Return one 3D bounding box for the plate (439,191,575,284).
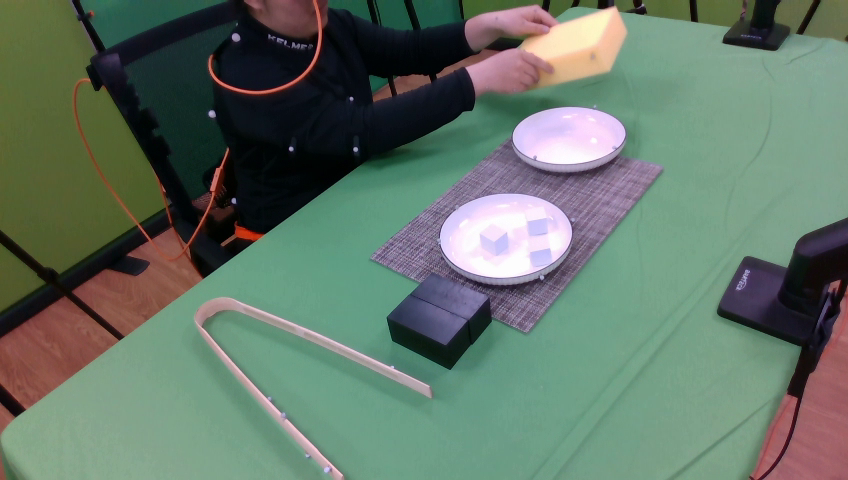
[{"bbox_3d":[0.129,-0.002,0.942,0.207,0.039,0.206,-5,40,5],"label":"plate"}]

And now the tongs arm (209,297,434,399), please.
[{"bbox_3d":[-0.153,0.143,0.837,0.385,0.028,0.028,16,49,28],"label":"tongs arm"}]

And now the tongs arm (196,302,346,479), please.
[{"bbox_3d":[-0.206,0.185,0.791,0.381,0.026,0.051,28,51,37],"label":"tongs arm"}]

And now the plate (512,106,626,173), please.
[{"bbox_3d":[0.269,-0.185,1.132,0.209,0.038,0.208,-5,40,5],"label":"plate"}]

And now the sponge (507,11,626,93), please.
[{"bbox_3d":[0.280,-0.370,1.201,0.205,0.061,0.118,0,51,46],"label":"sponge"}]
